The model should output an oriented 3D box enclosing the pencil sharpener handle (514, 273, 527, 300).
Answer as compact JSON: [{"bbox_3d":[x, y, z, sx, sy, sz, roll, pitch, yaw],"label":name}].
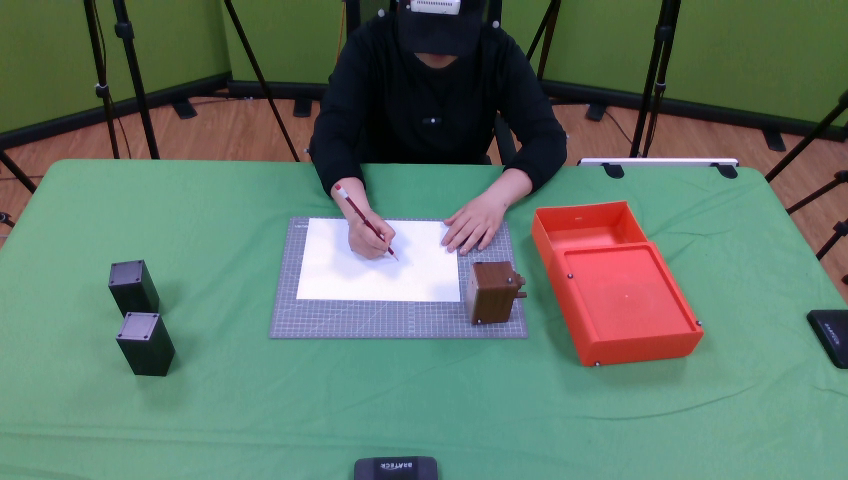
[{"bbox_3d":[0.169,0.081,1.051,0.031,0.068,0.035,-3,48,-7],"label":"pencil sharpener handle"}]

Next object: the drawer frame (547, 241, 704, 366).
[{"bbox_3d":[0.348,0.106,1.077,0.202,0.083,0.212,-4,47,-9],"label":"drawer frame"}]

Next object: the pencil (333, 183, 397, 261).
[{"bbox_3d":[-0.106,-0.030,1.120,0.012,0.195,0.012,-29,27,17],"label":"pencil"}]

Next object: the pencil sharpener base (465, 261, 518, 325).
[{"bbox_3d":[0.117,0.093,1.052,0.077,0.107,0.061,-3,46,-7],"label":"pencil sharpener base"}]

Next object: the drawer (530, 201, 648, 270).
[{"bbox_3d":[0.329,0.025,1.159,0.195,0.073,0.210,-5,46,-9],"label":"drawer"}]
